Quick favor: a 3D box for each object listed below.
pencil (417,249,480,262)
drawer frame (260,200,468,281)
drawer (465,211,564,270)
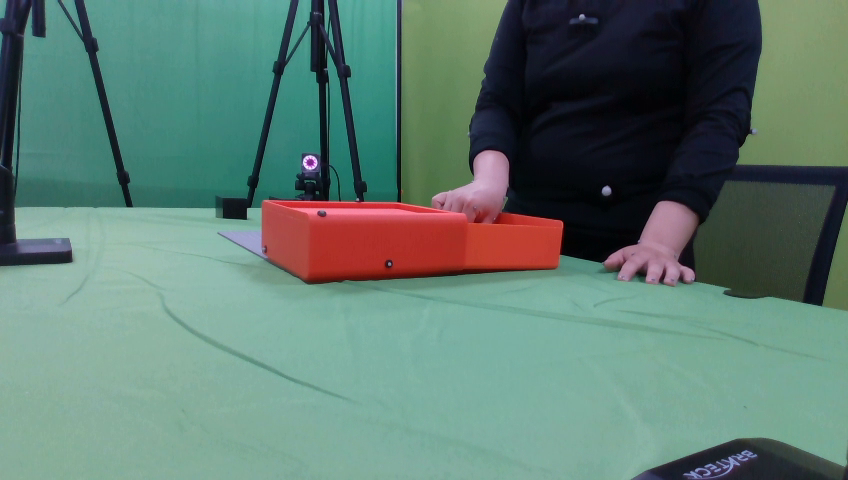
[{"bbox_3d":[0.041,0.020,0.876,0.012,0.012,0.195,7,5,29],"label":"pencil"},{"bbox_3d":[-0.084,-0.007,0.795,0.215,0.082,0.200,-2,9,-31],"label":"drawer frame"},{"bbox_3d":[0.058,-0.005,0.880,0.213,0.073,0.193,1,8,-31],"label":"drawer"}]
